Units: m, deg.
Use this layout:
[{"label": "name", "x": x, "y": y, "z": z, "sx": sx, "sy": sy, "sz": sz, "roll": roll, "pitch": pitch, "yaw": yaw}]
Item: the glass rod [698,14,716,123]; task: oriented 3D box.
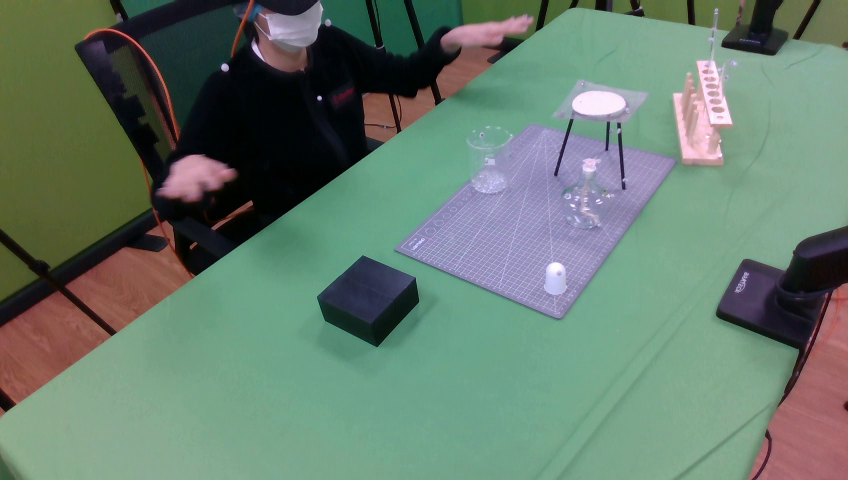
[{"label": "glass rod", "x": 0.532, "y": -0.320, "z": 1.136, "sx": 0.008, "sy": 0.200, "sz": 0.008, "roll": 3, "pitch": 12, "yaw": 0}]

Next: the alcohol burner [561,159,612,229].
[{"label": "alcohol burner", "x": 0.257, "y": -0.077, "z": 0.951, "sx": 0.078, "sy": 0.119, "sz": 0.077, "roll": -3, "pitch": 40, "yaw": 3}]

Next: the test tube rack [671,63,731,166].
[{"label": "test tube rack", "x": 0.513, "y": -0.241, "z": 1.132, "sx": 0.066, "sy": 0.085, "sz": 0.242, "roll": 4, "pitch": 41, "yaw": 14}]

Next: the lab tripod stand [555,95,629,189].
[{"label": "lab tripod stand", "x": 0.300, "y": -0.174, "z": 1.045, "sx": 0.148, "sy": 0.132, "sz": 0.147, "roll": -5, "pitch": 38, "yaw": 5}]

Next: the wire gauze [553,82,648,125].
[{"label": "wire gauze", "x": 0.293, "y": -0.226, "z": 1.002, "sx": 0.120, "sy": 0.011, "sz": 0.125, "roll": 17, "pitch": 45, "yaw": 27}]

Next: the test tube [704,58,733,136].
[{"label": "test tube", "x": 0.516, "y": -0.247, "z": 1.062, "sx": 0.017, "sy": 0.151, "sz": 0.017, "roll": -3, "pitch": 43, "yaw": 4}]

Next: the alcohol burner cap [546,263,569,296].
[{"label": "alcohol burner cap", "x": 0.191, "y": 0.053, "z": 0.862, "sx": 0.034, "sy": 0.048, "sz": 0.033, "roll": -5, "pitch": 40, "yaw": 4}]

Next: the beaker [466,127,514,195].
[{"label": "beaker", "x": 0.117, "y": -0.136, "z": 1.056, "sx": 0.084, "sy": 0.101, "sz": 0.073, "roll": -9, "pitch": 40, "yaw": -3}]
